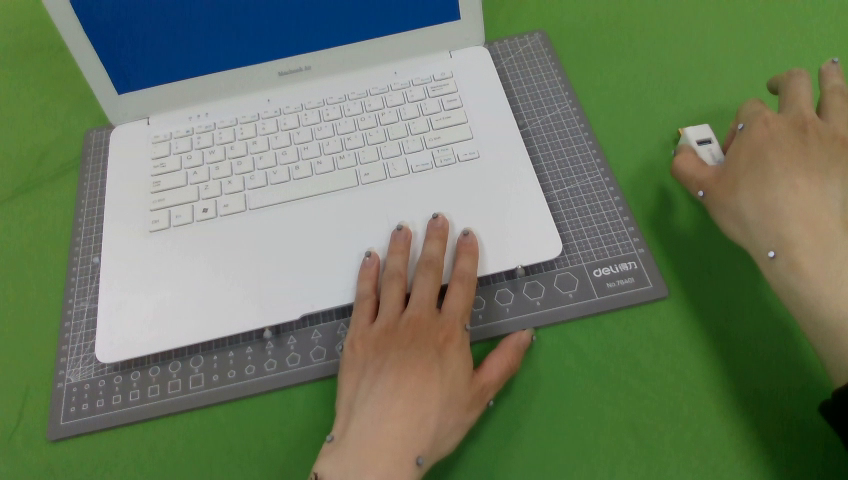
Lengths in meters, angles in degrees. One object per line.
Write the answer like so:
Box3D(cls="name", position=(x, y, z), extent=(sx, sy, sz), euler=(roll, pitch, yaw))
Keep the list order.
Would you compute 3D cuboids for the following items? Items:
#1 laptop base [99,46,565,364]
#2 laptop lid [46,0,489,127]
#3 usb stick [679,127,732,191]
Box3D(cls="laptop base", position=(-0.087, -0.042, 0.505), extent=(0.354, 0.023, 0.233), euler=(-13, 61, -2))
Box3D(cls="laptop lid", position=(-0.129, -0.227, 0.489), extent=(0.357, 0.244, 0.013), euler=(-14, 40, -1))
Box3D(cls="usb stick", position=(0.221, -0.070, 0.483), extent=(0.021, 0.027, 0.058), euler=(-10, 54, 1))
